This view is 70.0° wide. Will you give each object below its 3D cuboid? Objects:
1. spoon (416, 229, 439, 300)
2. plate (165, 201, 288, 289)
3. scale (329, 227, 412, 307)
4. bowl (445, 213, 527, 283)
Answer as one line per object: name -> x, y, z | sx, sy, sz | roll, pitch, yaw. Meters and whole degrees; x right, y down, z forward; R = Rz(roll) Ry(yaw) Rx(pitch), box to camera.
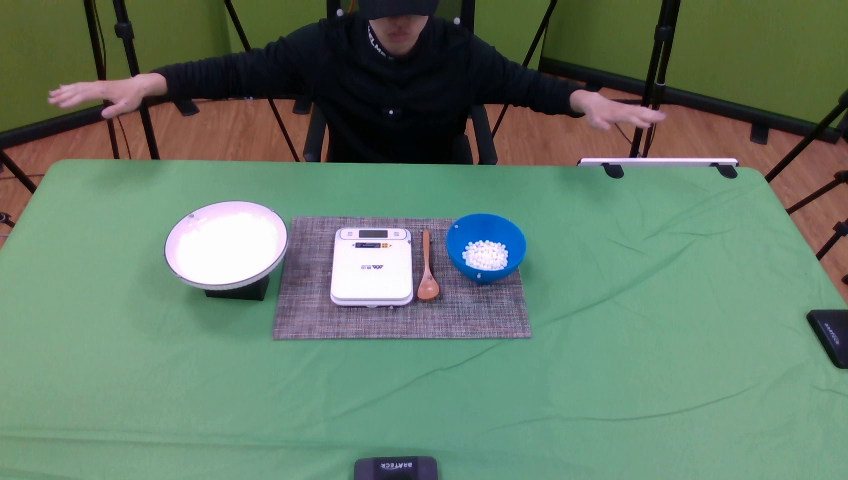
spoon -> 0.005, 0.043, 1.152 | 0.041, 0.022, 0.192 | -9, 46, 8
plate -> -0.347, 0.011, 1.082 | 0.209, 0.038, 0.208 | 2, 46, -2
scale -> -0.099, 0.042, 1.139 | 0.149, 0.032, 0.199 | 1, 46, -4
bowl -> 0.112, 0.027, 1.136 | 0.151, 0.077, 0.150 | 2, 46, -2
